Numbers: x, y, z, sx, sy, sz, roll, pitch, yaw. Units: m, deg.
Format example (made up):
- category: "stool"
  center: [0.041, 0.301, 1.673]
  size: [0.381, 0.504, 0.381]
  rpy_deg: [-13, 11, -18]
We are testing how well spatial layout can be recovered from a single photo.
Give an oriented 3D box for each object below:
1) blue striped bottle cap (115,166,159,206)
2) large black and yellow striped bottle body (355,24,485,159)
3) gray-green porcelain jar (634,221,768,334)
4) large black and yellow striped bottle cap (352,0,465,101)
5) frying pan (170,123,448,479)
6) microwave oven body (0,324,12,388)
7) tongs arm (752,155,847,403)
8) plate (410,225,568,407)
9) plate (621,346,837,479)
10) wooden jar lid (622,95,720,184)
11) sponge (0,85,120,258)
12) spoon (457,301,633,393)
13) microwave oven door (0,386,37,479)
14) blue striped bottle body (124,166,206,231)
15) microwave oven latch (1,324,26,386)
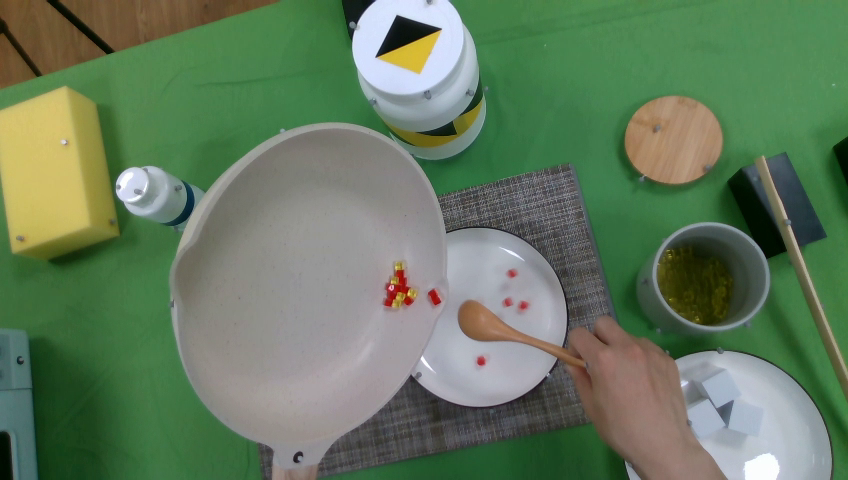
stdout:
- category: "blue striped bottle cap"
  center: [-0.336, -0.063, 0.709]
  size: [0.044, 0.021, 0.044]
  rpy_deg: [-1, 81, 9]
- category: "large black and yellow striped bottle body"
  center: [-0.002, -0.181, 0.692]
  size: [0.130, 0.185, 0.130]
  rpy_deg: [-2, 79, 10]
- category: "gray-green porcelain jar"
  center: [0.280, 0.044, 0.633]
  size: [0.105, 0.127, 0.105]
  rpy_deg: [-2, 79, 10]
- category: "large black and yellow striped bottle cap"
  center: [-0.016, -0.198, 0.611]
  size: [0.115, 0.019, 0.114]
  rpy_deg: [-1, 81, 10]
- category: "frying pan"
  center: [-0.110, 0.141, 0.555]
  size: [0.102, 0.309, 0.486]
  rpy_deg: [2, 83, 43]
- category: "microwave oven body"
  center: [-0.660, 0.334, 0.672]
  size: [0.326, 0.261, 0.439]
  rpy_deg: [-13, 79, 7]
- category: "tongs arm"
  center: [0.426, 0.088, 0.618]
  size: [0.051, 0.026, 0.384]
  rpy_deg: [-19, 88, 5]
- category: "plate"
  center: [0.061, 0.087, 0.706]
  size: [0.209, 0.038, 0.208]
  rpy_deg: [-2, 80, 10]
- category: "plate"
  center: [0.316, 0.217, 0.643]
  size: [0.207, 0.039, 0.207]
  rpy_deg: [-2, 80, 10]
- category: "wooden jar lid"
  center: [0.289, -0.117, 0.715]
  size: [0.108, 0.021, 0.108]
  rpy_deg: [-1, 81, 10]
- category: "sponge"
  center: [-0.503, -0.091, 0.825]
  size: [0.118, 0.061, 0.206]
  rpy_deg: [-19, 78, 6]
- category: "spoon"
  center: [0.109, 0.103, 0.586]
  size: [0.192, 0.022, 0.042]
  rpy_deg: [18, 101, 31]
- category: "microwave oven door"
  center: [-0.512, 0.340, 0.640]
  size: [0.039, 0.245, 0.354]
  rpy_deg: [-14, 78, 8]
- category: "blue striped bottle body"
  center: [-0.326, -0.053, 0.758]
  size: [0.063, 0.121, 0.063]
  rpy_deg: [-2, 79, 10]
- category: "microwave oven latch"
  center: [-0.536, 0.149, 0.782]
  size: [0.030, 0.029, 0.079]
  rpy_deg: [-10, 79, 8]
